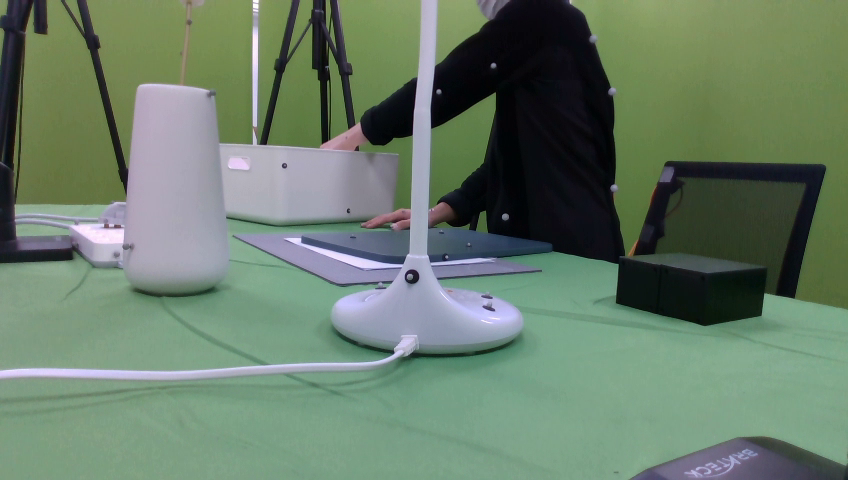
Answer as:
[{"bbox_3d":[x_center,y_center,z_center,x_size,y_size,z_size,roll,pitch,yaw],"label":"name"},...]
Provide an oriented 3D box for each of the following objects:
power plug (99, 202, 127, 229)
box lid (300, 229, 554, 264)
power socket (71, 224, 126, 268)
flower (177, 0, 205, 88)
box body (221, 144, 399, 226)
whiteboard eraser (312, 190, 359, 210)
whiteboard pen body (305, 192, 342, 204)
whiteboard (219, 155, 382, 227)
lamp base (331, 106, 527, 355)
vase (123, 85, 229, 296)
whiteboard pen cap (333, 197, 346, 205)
[{"bbox_3d":[-0.415,-0.026,0.848,0.073,0.052,0.035,6,5,-28],"label":"power plug"},{"bbox_3d":[0.011,0.006,0.998,0.374,0.015,0.262,-3,9,-43],"label":"box lid"},{"bbox_3d":[-0.409,0.004,0.793,0.072,0.032,0.225,-2,8,-37],"label":"power socket"},{"bbox_3d":[-0.243,-0.131,0.609,0.044,0.361,0.038,-5,-12,11],"label":"flower"},{"bbox_3d":[-0.264,-0.129,1.380,0.253,0.160,0.366,8,9,39],"label":"box body"},{"bbox_3d":[-0.222,-0.099,1.516,0.112,0.042,0.056,9,17,33],"label":"whiteboard eraser"},{"bbox_3d":[-0.237,-0.099,1.429,0.140,0.017,0.017,14,13,43],"label":"whiteboard pen body"},{"bbox_3d":[-0.276,-0.119,1.376,0.216,0.143,0.307,7,9,39],"label":"whiteboard"},{"bbox_3d":[0.006,-0.012,0.478,0.161,0.180,0.179,2,10,2],"label":"lamp base"},{"bbox_3d":[-0.244,-0.047,0.598,0.098,0.200,0.098,3,8,0],"label":"vase"},{"bbox_3d":[-0.195,-0.089,1.390,0.033,0.018,0.018,11,11,43],"label":"whiteboard pen cap"}]
